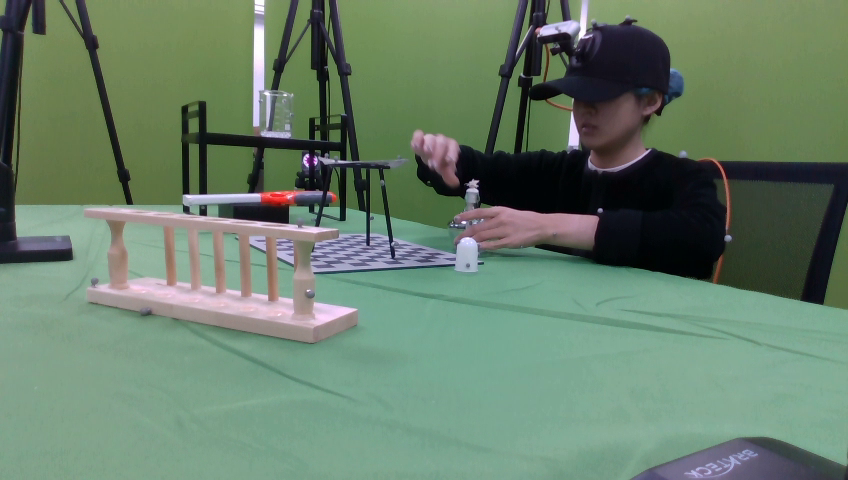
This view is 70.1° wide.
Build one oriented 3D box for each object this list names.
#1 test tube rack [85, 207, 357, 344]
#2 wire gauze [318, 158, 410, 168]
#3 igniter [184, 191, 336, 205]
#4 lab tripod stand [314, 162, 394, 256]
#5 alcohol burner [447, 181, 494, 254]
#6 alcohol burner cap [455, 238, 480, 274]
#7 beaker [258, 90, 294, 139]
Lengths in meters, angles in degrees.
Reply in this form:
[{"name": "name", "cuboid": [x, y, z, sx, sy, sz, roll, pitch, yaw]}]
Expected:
[{"name": "test tube rack", "cuboid": [-0.177, 0.022, 0.518, 0.241, 0.085, 0.067, 6, 7, 23]}, {"name": "wire gauze", "cuboid": [-0.090, -0.114, 0.888, 0.122, 0.011, 0.124, 0, 6, -15]}, {"name": "igniter", "cuboid": [-0.298, -0.078, 1.126, 0.278, 0.025, 0.057, -4, 13, -32]}, {"name": "lab tripod stand", "cuboid": [-0.098, -0.048, 0.897, 0.148, 0.131, 0.148, 1, 6, 0]}, {"name": "alcohol burner", "cuboid": [0.077, -0.037, 0.984, 0.078, 0.119, 0.078, 3, 9, 0]}, {"name": "alcohol burner cap", "cuboid": [0.058, 0.022, 0.798, 0.034, 0.048, 0.034, 2, 6, 0]}, {"name": "beaker", "cuboid": [-0.324, -0.274, 1.331, 0.083, 0.100, 0.074, 7, 9, 24]}]
